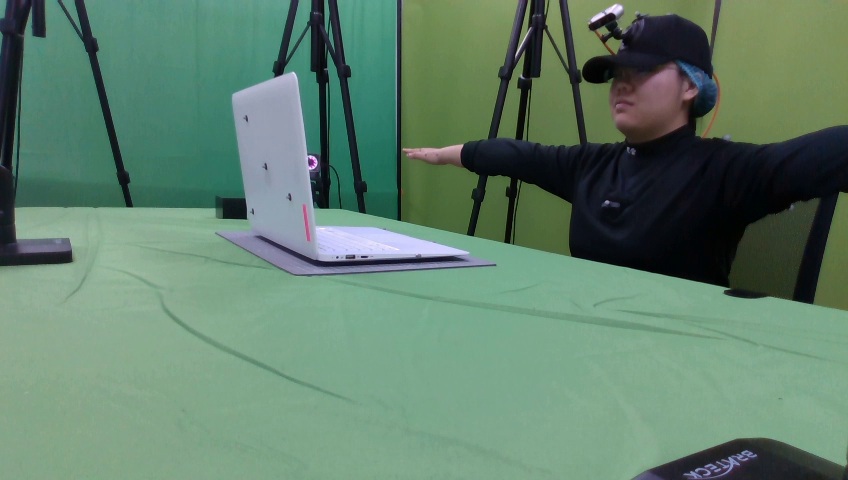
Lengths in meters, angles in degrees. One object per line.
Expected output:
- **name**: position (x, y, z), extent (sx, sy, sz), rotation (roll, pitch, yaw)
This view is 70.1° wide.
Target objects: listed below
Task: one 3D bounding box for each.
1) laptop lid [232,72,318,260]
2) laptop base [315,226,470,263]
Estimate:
- **laptop lid**: position (-0.229, -0.109, 0.888), extent (0.013, 0.241, 0.355), rotation (-10, 14, -28)
- **laptop base**: position (-0.117, 0.005, 0.970), extent (0.237, 0.023, 0.352), rotation (2, 6, -30)
